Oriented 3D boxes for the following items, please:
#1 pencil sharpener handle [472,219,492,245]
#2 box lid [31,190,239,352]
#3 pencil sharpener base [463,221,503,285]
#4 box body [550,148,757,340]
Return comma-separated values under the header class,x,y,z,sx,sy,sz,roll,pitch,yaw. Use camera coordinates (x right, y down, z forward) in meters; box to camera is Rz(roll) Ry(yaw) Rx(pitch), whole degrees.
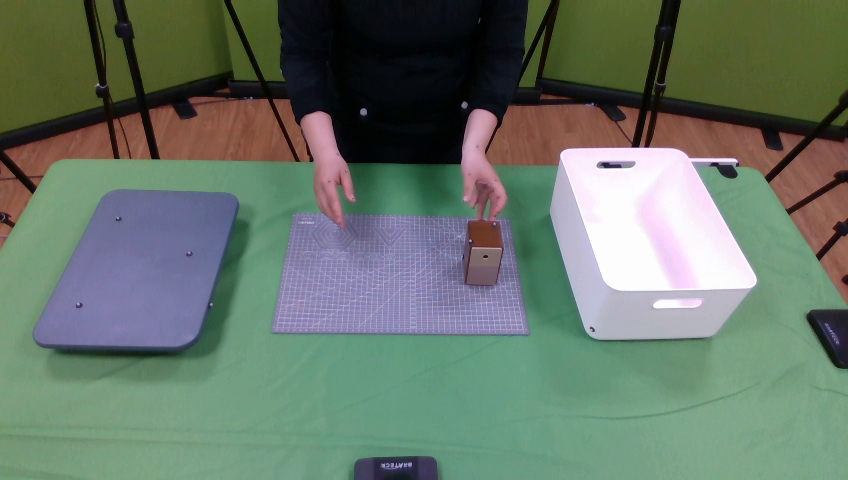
class,x,y,z,sx,sy,sz,roll,pitch,yaw
pencil sharpener handle,0.105,-0.021,1.146,0.036,0.068,0.030,7,45,-8
box lid,-0.491,0.040,1.070,0.263,0.015,0.369,1,46,-3
pencil sharpener base,0.107,0.023,1.119,0.061,0.107,0.076,1,45,-2
box body,0.395,0.003,1.127,0.254,0.161,0.361,-1,46,-5
